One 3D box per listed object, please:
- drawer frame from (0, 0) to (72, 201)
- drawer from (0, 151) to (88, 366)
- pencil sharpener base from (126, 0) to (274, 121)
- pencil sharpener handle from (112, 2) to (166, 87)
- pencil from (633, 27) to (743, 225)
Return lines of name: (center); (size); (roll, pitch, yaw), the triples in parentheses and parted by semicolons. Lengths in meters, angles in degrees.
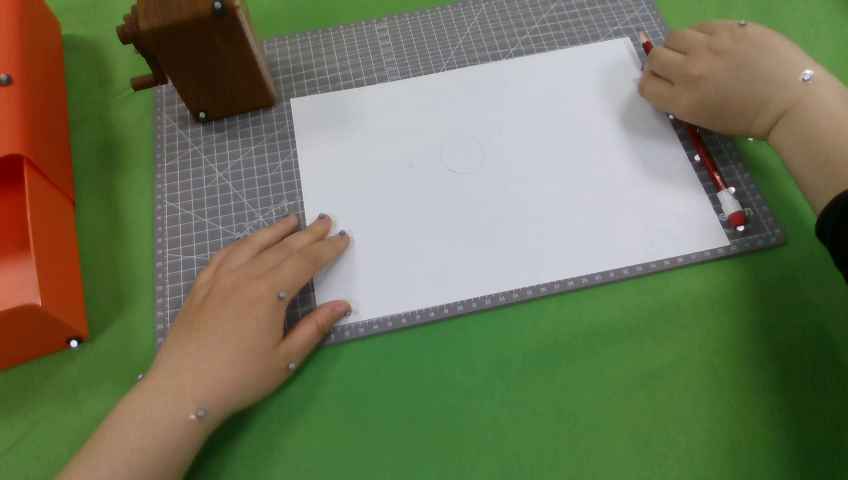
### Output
drawer frame: (-0.397, -0.098, 0.470); (0.202, 0.083, 0.211); (-19, 63, -7)
drawer: (-0.357, 0.000, 0.421); (0.194, 0.074, 0.209); (-19, 63, -7)
pencil sharpener base: (-0.171, -0.153, 0.472); (0.077, 0.108, 0.061); (-17, 63, -5)
pencil sharpener handle: (-0.220, -0.143, 0.455); (0.031, 0.068, 0.035); (-17, 61, -5)
pencil: (0.201, -0.096, 0.474); (0.012, 0.012, 0.192); (-14, 65, -4)
